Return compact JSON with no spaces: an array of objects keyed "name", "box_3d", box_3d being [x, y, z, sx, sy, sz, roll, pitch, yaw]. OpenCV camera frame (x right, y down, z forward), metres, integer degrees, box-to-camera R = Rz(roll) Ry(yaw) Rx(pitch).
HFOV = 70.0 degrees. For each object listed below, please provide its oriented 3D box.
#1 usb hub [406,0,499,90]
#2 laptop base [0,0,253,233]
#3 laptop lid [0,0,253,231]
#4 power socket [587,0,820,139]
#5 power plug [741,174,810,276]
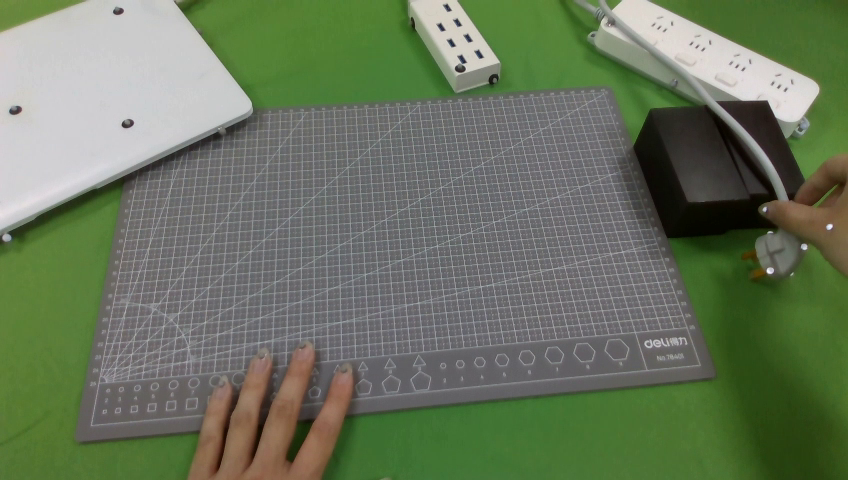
[{"name":"usb hub","box_3d":[0.026,-0.206,0.613,0.049,0.025,0.124,-20,60,-12]},{"name":"laptop base","box_3d":[-0.363,-0.110,0.551,0.354,0.023,0.233,-32,66,-19]},{"name":"laptop lid","box_3d":[-0.361,-0.115,0.540,0.357,0.013,0.239,-30,65,-18]},{"name":"power socket","box_3d":[0.270,-0.174,0.593,0.225,0.033,0.072,36,64,20]},{"name":"power plug","box_3d":[0.273,-0.007,0.475,0.035,0.052,0.072,18,61,-23]}]
